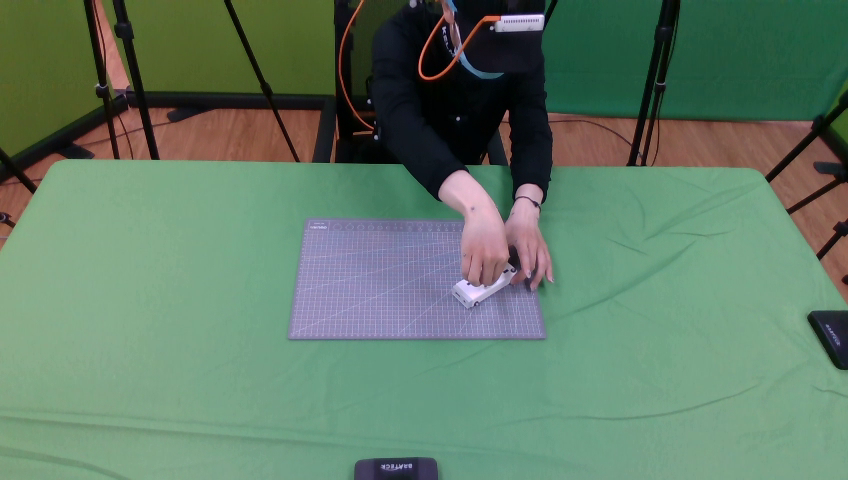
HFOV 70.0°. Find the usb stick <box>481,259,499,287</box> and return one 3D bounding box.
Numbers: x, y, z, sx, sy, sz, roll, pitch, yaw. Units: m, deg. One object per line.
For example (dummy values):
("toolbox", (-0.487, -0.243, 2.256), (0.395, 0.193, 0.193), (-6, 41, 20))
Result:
("usb stick", (0.118, 0.064, 1.086), (0.021, 0.059, 0.027), (-33, 54, -27))

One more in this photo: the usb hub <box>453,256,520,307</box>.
("usb hub", (0.116, 0.076, 1.122), (0.125, 0.025, 0.049), (-29, 54, -26))
